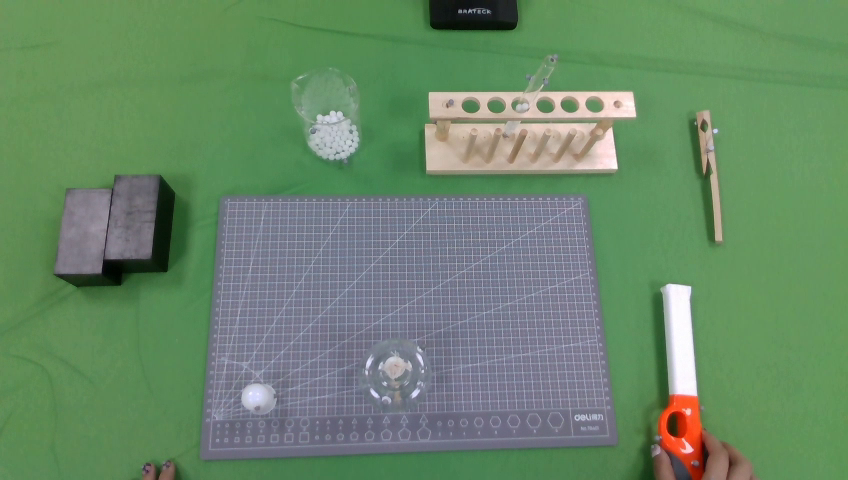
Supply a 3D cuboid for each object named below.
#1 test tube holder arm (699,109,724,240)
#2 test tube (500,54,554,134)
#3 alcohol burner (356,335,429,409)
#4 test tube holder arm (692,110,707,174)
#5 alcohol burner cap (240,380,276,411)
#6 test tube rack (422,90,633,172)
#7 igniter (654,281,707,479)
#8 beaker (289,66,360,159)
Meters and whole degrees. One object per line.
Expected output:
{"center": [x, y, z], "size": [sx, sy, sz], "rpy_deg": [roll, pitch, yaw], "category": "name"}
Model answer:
{"center": [0.366, -0.086, 0.774], "size": [0.013, 0.015, 0.177], "rpy_deg": [-11, 70, 29], "category": "test tube holder arm"}
{"center": [0.115, -0.163, 0.695], "size": [0.017, 0.151, 0.017], "rpy_deg": [3, 71, -10], "category": "test tube"}
{"center": [-0.032, 0.133, 0.624], "size": [0.078, 0.119, 0.077], "rpy_deg": [2, 70, -4], "category": "alcohol burner"}
{"center": [0.361, -0.128, 0.790], "size": [0.010, 0.015, 0.087], "rpy_deg": [-10, 70, 29], "category": "test tube holder arm"}
{"center": [-0.177, 0.163, 0.642], "size": [0.034, 0.048, 0.033], "rpy_deg": [1, 72, -3], "category": "alcohol burner cap"}
{"center": [0.122, -0.132, 0.739], "size": [0.243, 0.085, 0.066], "rpy_deg": [-1, 72, -4], "category": "test tube rack"}
{"center": [0.284, 0.180, 0.677], "size": [0.057, 0.025, 0.275], "rpy_deg": [7, 71, -7], "category": "igniter"}
{"center": [-0.116, -0.148, 0.720], "size": [0.084, 0.101, 0.073], "rpy_deg": [26, 72, 6], "category": "beaker"}
